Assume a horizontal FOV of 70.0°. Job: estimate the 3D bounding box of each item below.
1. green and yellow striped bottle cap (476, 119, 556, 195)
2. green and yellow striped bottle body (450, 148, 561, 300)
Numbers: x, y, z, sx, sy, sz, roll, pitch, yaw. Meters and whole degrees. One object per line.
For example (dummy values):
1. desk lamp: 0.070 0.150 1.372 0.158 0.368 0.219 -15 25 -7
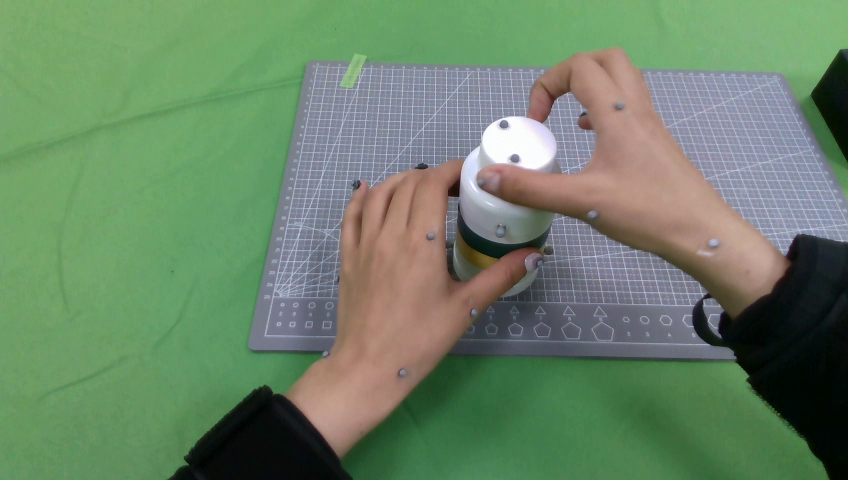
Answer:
1. green and yellow striped bottle cap: 0.053 -0.048 0.347 0.045 0.020 0.045 1 55 0
2. green and yellow striped bottle body: 0.051 -0.016 0.391 0.063 0.120 0.062 1 54 0
